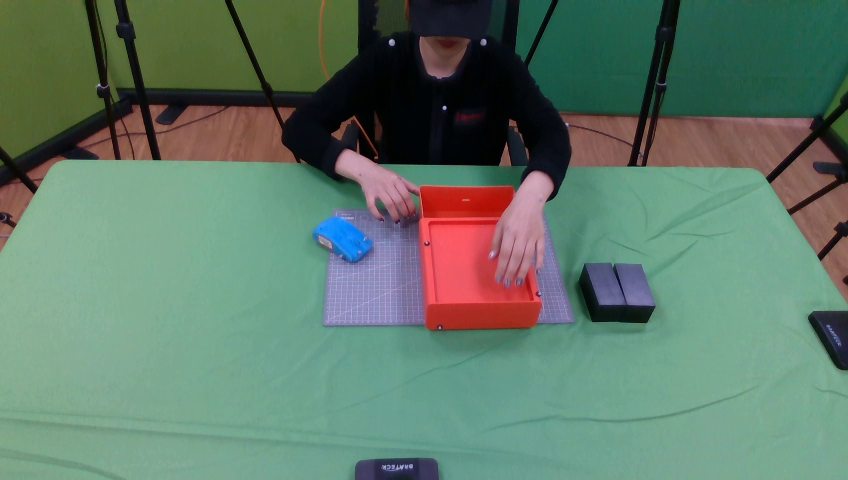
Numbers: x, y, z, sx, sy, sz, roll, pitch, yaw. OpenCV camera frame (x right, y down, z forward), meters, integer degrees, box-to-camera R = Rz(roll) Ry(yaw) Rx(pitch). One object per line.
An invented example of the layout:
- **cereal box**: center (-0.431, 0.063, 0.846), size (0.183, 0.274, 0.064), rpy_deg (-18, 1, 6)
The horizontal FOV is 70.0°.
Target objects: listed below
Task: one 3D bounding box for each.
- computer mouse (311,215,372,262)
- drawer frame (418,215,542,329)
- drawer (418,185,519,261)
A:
- **computer mouse**: center (-0.160, -0.007, 1.178), size (0.117, 0.041, 0.062), rpy_deg (32, 50, 19)
- **drawer frame**: center (0.095, 0.054, 1.108), size (0.202, 0.083, 0.212), rpy_deg (-1, 47, -6)
- **drawer**: center (0.090, -0.014, 1.176), size (0.195, 0.073, 0.210), rpy_deg (0, 47, -5)
